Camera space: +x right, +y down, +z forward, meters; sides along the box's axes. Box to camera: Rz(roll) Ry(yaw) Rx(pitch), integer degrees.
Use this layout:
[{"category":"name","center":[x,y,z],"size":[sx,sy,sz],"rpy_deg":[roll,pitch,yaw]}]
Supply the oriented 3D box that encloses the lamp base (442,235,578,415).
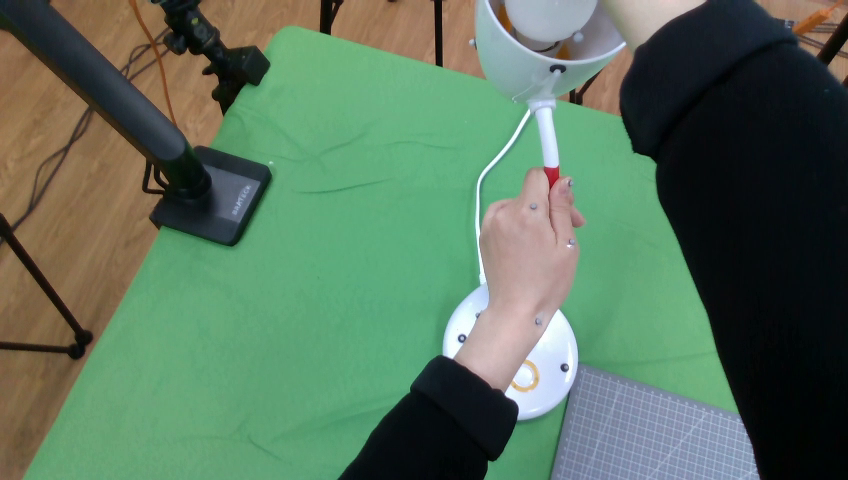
[{"category":"lamp base","center":[0.097,0.083,0.650],"size":[0.161,0.181,0.177],"rpy_deg":[-22,66,-11]}]

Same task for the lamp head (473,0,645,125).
[{"category":"lamp head","center":[0.085,-0.149,0.441],"size":[0.112,0.123,0.111],"rpy_deg":[1,73,-4]}]

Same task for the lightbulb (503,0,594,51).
[{"category":"lightbulb","center":[0.081,-0.158,0.418],"size":[0.059,0.108,0.059],"rpy_deg":[0,82,0]}]
